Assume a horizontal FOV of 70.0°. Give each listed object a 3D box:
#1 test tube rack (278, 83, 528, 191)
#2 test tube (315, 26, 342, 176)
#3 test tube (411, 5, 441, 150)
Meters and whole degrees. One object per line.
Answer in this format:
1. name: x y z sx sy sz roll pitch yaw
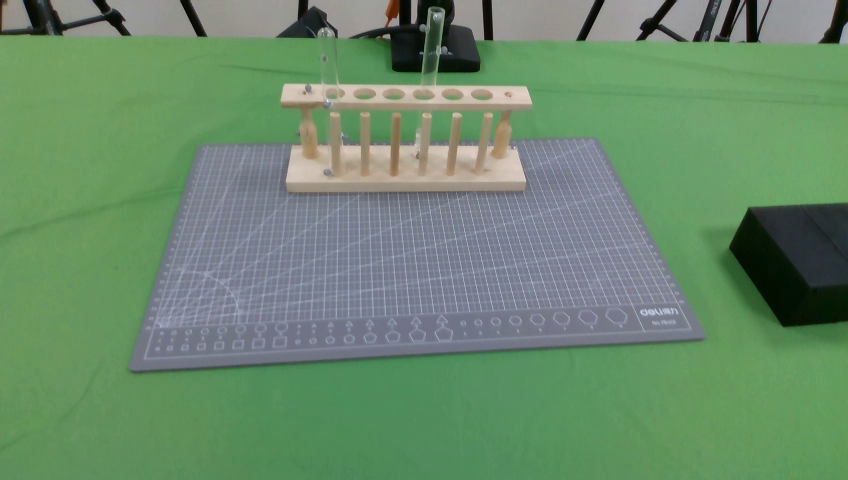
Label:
1. test tube rack: -0.020 -0.104 0.611 0.243 0.086 0.066 -1 43 -5
2. test tube: -0.088 -0.124 0.562 0.017 0.152 0.017 2 42 -1
3. test tube: 0.001 -0.152 0.591 0.017 0.151 0.017 5 41 -4
